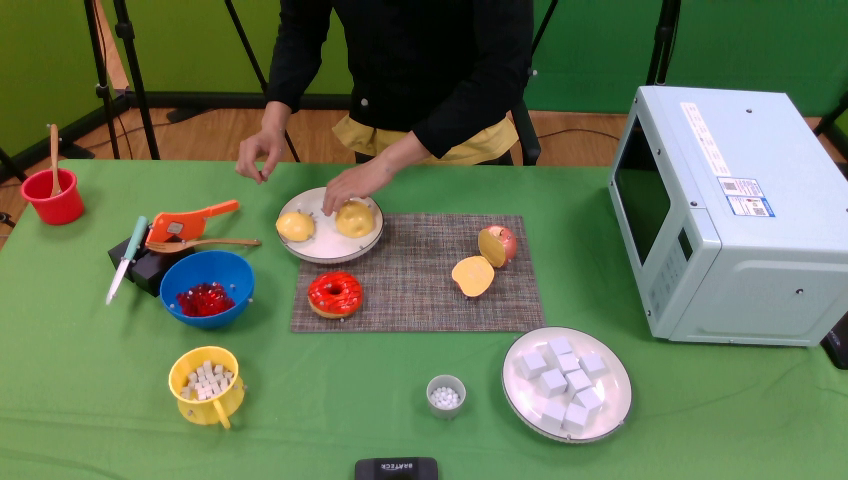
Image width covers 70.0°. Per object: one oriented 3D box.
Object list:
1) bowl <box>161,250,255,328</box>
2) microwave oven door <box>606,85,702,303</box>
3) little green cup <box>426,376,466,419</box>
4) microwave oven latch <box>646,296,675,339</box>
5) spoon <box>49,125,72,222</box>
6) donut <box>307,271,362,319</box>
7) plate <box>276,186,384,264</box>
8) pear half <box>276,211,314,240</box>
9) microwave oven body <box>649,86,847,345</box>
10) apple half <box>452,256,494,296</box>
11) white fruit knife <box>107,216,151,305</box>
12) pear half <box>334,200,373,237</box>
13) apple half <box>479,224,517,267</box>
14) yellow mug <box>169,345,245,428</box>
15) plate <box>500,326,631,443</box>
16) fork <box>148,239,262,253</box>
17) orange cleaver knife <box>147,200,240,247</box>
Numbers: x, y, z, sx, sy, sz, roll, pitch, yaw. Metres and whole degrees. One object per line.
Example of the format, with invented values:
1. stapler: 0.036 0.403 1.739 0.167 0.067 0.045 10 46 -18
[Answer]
1. bowl: -0.362 0.097 1.040 0.151 0.077 0.150 2 45 -2
2. microwave oven door: 0.423 -0.094 1.140 0.039 0.245 0.353 2 46 -1
3. little green cup: 0.033 0.248 0.950 0.061 0.039 0.061 2 46 -2
4. microwave oven latch: 0.412 0.134 1.061 0.030 0.029 0.078 4 45 1
5. spoon: -0.717 -0.131 1.189 0.041 0.021 0.193 -3 90 -6
6. donut: -0.157 0.097 1.073 0.099 0.048 0.098 4 45 -4
7. plate: -0.184 -0.027 1.195 0.209 0.038 0.208 2 46 -2
8. pear half: -0.244 -0.036 1.179 0.070 0.031 0.088 43 42 3
9. microwave oven body: 0.567 -0.053 1.118 0.326 0.261 0.439 2 45 -1
10. apple half: 0.095 0.069 1.120 0.081 0.033 0.081 -7 63 13
11. white fruit knife: -0.518 0.032 1.066 0.027 0.016 0.206 -18 45 19
12. pear half: -0.147 -0.058 1.209 0.076 0.056 0.109 -16 40 -26
13. apple half: 0.148 0.008 1.160 0.053 0.075 0.080 -24 48 -30
14. yellow mug: -0.322 0.230 0.922 0.100 0.064 0.130 -24 53 -25
15. plate: 0.224 0.234 0.978 0.208 0.039 0.206 2 46 -2
16. fork: -0.398 0.008 1.117 0.208 0.019 0.028 -5 34 -37
17. orange cleaver knife: -0.435 -0.033 1.157 0.012 0.077 0.211 31 26 18
